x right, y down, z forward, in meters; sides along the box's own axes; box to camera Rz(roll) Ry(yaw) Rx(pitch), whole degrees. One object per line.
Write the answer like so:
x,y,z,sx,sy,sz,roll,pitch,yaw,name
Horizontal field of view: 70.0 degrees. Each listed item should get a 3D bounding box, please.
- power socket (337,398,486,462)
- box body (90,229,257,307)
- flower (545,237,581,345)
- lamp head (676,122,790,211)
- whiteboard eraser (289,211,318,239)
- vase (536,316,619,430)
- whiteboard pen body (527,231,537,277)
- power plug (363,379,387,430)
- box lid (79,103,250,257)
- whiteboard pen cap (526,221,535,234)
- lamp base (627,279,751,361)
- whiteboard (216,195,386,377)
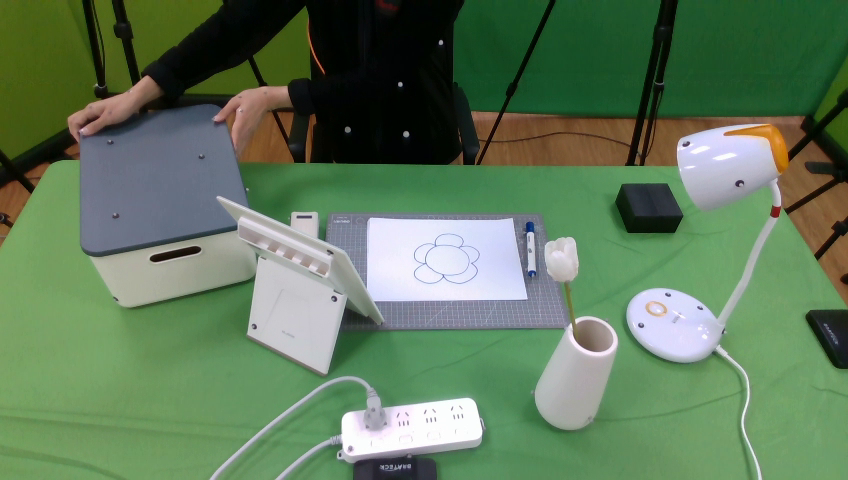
-0.018,0.285,0.914,0.227,0.033,0.071,-4,46,-8,power socket
-0.471,-0.071,1.131,0.254,0.161,0.361,-14,49,-17,box body
0.213,0.137,0.846,0.038,0.364,0.044,21,55,40,flower
0.423,-0.104,0.819,0.122,0.113,0.112,-13,33,40,lamp head
-0.234,-0.007,1.172,0.055,0.042,0.112,-3,47,-5,whiteboard eraser
0.229,0.200,0.901,0.098,0.201,0.097,3,46,-3,vase
0.211,0.018,1.191,0.017,0.017,0.140,6,44,1,whiteboard pen body
-0.071,0.252,0.911,0.035,0.053,0.072,3,40,0,power plug
-0.466,-0.122,1.075,0.264,0.015,0.369,-13,49,-18,box lid
0.216,-0.022,1.234,0.018,0.018,0.033,6,44,1,whiteboard pen cap
0.460,0.100,1.027,0.178,0.181,0.160,27,51,17,lamp base
-0.212,0.093,0.938,0.216,0.307,0.143,24,70,17,whiteboard
